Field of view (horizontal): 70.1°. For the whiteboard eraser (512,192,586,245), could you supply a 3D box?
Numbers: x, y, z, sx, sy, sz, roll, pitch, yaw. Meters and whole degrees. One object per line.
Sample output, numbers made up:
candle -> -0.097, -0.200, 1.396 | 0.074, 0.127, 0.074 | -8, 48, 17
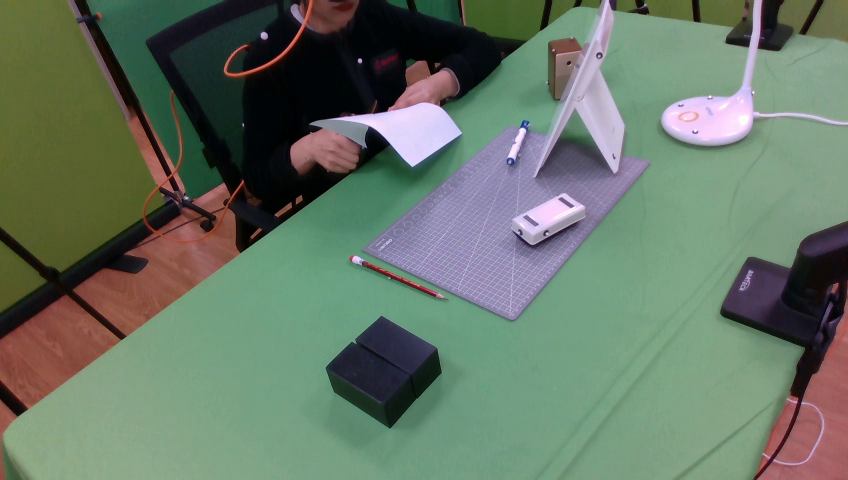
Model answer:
whiteboard eraser -> 0.199, -0.032, 0.962 | 0.113, 0.042, 0.055 | -27, 43, -20

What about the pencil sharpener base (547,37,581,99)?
pencil sharpener base -> 0.299, -0.368, 1.290 | 0.061, 0.107, 0.076 | -8, 40, 2

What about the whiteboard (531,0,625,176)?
whiteboard -> 0.320, -0.258, 1.050 | 0.144, 0.306, 0.217 | 22, 45, 5

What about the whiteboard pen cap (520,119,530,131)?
whiteboard pen cap -> 0.199, -0.226, 1.204 | 0.018, 0.018, 0.033 | 7, 41, 18

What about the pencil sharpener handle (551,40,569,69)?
pencil sharpener handle -> 0.291, -0.409, 1.321 | 0.036, 0.068, 0.030 | 2, 40, -6

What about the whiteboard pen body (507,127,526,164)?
whiteboard pen body -> 0.181, -0.189, 1.163 | 0.017, 0.017, 0.140 | 7, 42, 19

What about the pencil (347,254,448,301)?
pencil -> -0.044, 0.058, 0.933 | 0.192, 0.012, 0.012 | 22, 49, 29

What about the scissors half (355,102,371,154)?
scissors half -> -0.110, -0.207, 1.125 | 0.013, 0.175, 0.040 | -36, 76, -19

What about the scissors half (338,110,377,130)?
scissors half -> -0.124, -0.226, 1.123 | 0.013, 0.040, 0.174 | -41, 24, -18

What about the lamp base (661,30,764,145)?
lamp base -> 0.535, -0.287, 1.096 | 0.179, 0.181, 0.159 | -10, 40, -4
